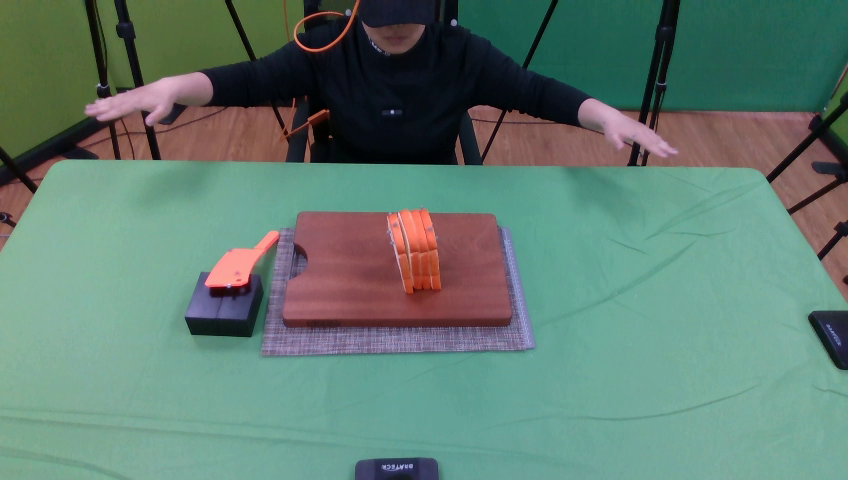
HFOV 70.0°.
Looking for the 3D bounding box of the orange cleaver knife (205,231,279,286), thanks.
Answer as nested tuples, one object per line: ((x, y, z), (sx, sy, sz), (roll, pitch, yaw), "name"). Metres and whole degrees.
((-0.328, 0.031, 1.109), (0.077, 0.012, 0.210), (5, 27, 7), "orange cleaver knife")

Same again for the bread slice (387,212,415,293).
((-0.043, 0.016, 1.067), (0.019, 0.132, 0.104), (-15, 46, -4), "bread slice")

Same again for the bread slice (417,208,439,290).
((0.007, 0.012, 1.073), (0.018, 0.135, 0.106), (-11, 51, -7), "bread slice")
